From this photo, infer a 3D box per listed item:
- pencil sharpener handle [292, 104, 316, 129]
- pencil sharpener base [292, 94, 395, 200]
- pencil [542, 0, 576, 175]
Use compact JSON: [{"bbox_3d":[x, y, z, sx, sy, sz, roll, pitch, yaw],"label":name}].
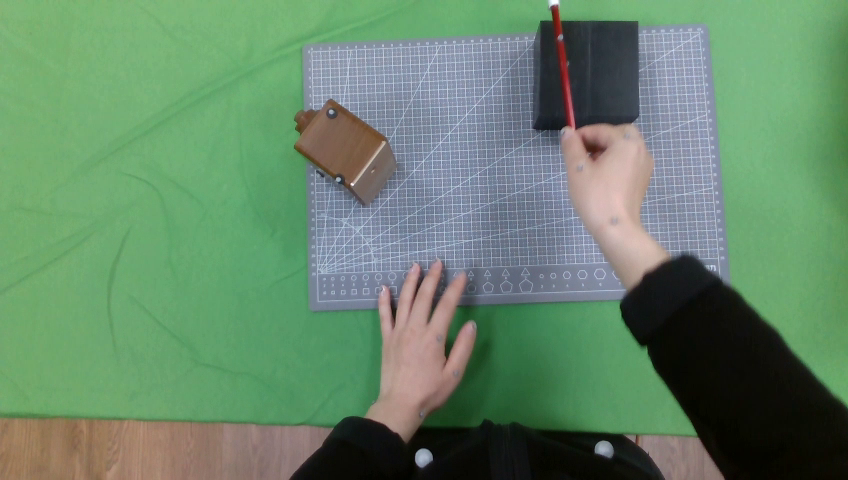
[{"bbox_3d":[-0.123,-0.122,0.607,0.030,0.068,0.036,36,79,6],"label":"pencil sharpener handle"},{"bbox_3d":[-0.080,-0.092,0.615,0.076,0.107,0.061,37,87,6],"label":"pencil sharpener base"},{"bbox_3d":[0.127,-0.155,0.568,0.012,0.012,0.193,-7,83,2],"label":"pencil"}]
